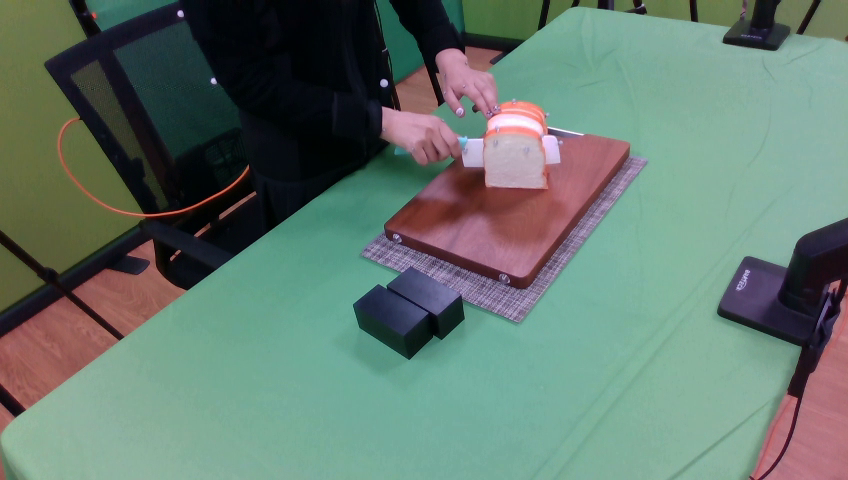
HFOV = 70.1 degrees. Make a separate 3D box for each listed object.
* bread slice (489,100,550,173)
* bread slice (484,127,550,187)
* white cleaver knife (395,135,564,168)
[{"bbox_3d":[0.163,-0.175,1.031,0.104,0.132,0.019,4,37,15],"label":"bread slice"},{"bbox_3d":[0.146,-0.131,0.982,0.106,0.135,0.018,0,57,16],"label":"bread slice"},{"bbox_3d":[0.087,-0.144,1.006,0.285,0.066,0.021,3,41,16],"label":"white cleaver knife"}]
